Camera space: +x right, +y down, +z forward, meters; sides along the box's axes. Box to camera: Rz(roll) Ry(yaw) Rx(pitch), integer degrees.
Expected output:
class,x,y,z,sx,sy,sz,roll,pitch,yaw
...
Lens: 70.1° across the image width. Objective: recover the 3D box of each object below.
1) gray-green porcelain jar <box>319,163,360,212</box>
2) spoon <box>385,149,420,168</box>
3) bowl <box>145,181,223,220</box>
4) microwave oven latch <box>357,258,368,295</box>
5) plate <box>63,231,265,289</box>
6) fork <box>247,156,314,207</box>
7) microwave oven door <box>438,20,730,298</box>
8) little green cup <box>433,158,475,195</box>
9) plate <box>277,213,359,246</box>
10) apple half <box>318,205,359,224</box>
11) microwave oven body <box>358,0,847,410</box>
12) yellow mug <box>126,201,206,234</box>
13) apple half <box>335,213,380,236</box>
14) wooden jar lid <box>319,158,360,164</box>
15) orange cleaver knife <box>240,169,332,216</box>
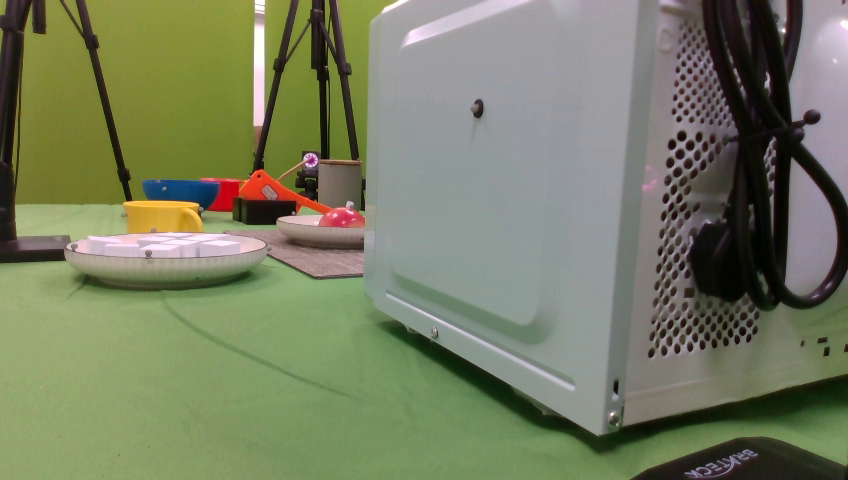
class,x,y,z,sx,sy,sz,roll,pitch,yaw
gray-green porcelain jar,-0.204,-0.126,1.490,0.106,0.126,0.106,2,7,0
spoon,-0.042,-0.145,1.036,0.042,0.021,0.193,34,4,-18
bowl,-0.499,-0.081,1.261,0.151,0.077,0.151,2,7,0
microwave oven latch,-0.019,0.031,0.529,0.079,0.029,0.030,-1,7,-27
plate,-0.288,0.021,0.687,0.208,0.039,0.207,2,8,0
fork,-0.360,-0.147,1.523,0.207,0.019,0.028,-43,16,-7
microwave oven door,0.181,-0.076,0.618,0.358,0.243,0.039,-2,8,-28
little green cup,0.049,-0.096,0.925,0.061,0.038,0.061,-17,-12,-3
plate,-0.135,-0.018,0.994,0.209,0.038,0.209,2,7,0
apple half,-0.126,-0.028,0.954,0.081,0.053,0.074,-2,11,-33
microwave oven body,0.210,-0.051,0.471,0.444,0.260,0.324,-1,7,-28
yellow mug,-0.360,-0.019,0.866,0.130,0.064,0.100,6,9,27
apple half,-0.112,-0.029,1.034,0.081,0.033,0.081,0,10,0
wooden jar lid,-0.203,-0.189,1.482,0.108,0.020,0.108,2,10,0
orange cleaver knife,-0.286,-0.082,1.298,0.212,0.077,0.012,25,-2,-31
